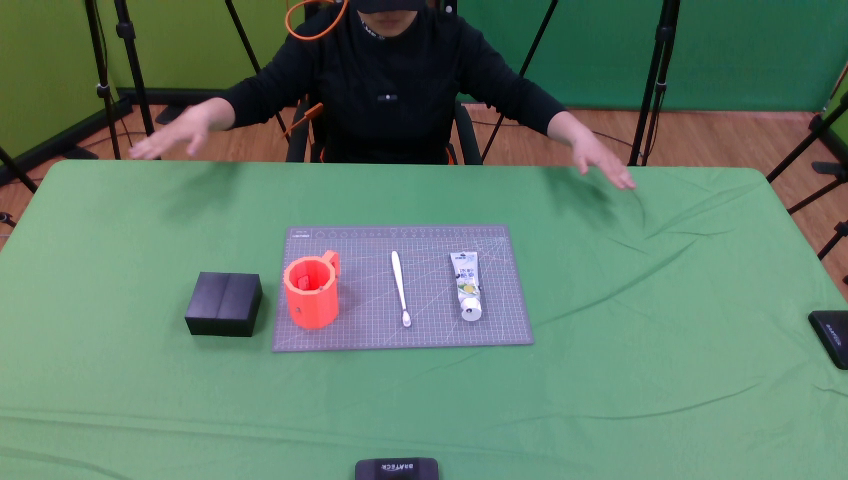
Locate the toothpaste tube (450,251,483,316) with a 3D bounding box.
[{"bbox_3d":[0.084,0.077,1.122,0.055,0.035,0.164,3,41,-8],"label":"toothpaste tube"}]

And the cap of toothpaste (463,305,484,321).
[{"bbox_3d":[0.087,0.127,1.064,0.037,0.037,0.011,2,39,-2],"label":"cap of toothpaste"}]

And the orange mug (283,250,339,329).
[{"bbox_3d":[-0.186,0.078,1.052,0.083,0.101,0.126,20,52,15],"label":"orange mug"}]

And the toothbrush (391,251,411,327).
[{"bbox_3d":[-0.044,0.085,1.112,0.014,0.017,0.180,-14,46,1],"label":"toothbrush"}]
